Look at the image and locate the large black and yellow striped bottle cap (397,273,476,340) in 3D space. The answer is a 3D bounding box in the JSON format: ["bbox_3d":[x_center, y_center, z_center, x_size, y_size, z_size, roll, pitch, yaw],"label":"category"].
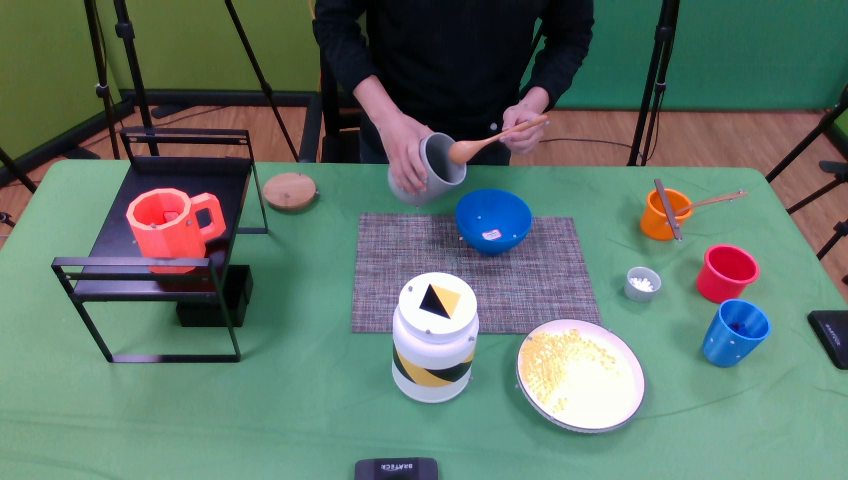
[{"bbox_3d":[0.018,0.094,0.878,0.115,0.019,0.114,3,46,-3],"label":"large black and yellow striped bottle cap"}]

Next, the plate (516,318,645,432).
[{"bbox_3d":[0.253,0.221,0.992,0.209,0.038,0.208,2,46,-2],"label":"plate"}]

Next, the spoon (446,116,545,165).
[{"bbox_3d":[0.121,-0.179,1.059,0.193,0.041,0.022,-20,-3,24],"label":"spoon"}]

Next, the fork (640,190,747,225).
[{"bbox_3d":[0.533,-0.064,1.211,0.207,0.019,0.028,-22,28,39],"label":"fork"}]

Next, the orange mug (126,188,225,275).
[{"bbox_3d":[-0.357,-0.019,0.884,0.126,0.101,0.083,-29,54,-23],"label":"orange mug"}]

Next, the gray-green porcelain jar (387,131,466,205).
[{"bbox_3d":[0.000,-0.130,1.139,0.106,0.126,0.105,19,59,-36],"label":"gray-green porcelain jar"}]

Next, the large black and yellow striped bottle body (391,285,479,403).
[{"bbox_3d":[0.015,0.153,0.938,0.131,0.185,0.130,2,46,-2],"label":"large black and yellow striped bottle body"}]

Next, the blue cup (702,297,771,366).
[{"bbox_3d":[0.519,0.162,1.025,0.093,0.101,0.092,3,45,-3],"label":"blue cup"}]

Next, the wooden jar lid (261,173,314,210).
[{"bbox_3d":[-0.286,-0.101,1.273,0.108,0.021,0.107,3,45,-3],"label":"wooden jar lid"}]

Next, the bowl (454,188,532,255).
[{"bbox_3d":[0.131,-0.025,1.186,0.151,0.077,0.150,2,46,-2],"label":"bowl"}]

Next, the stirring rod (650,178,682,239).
[{"bbox_3d":[0.479,-0.065,1.204,0.014,0.006,0.175,2,46,-3],"label":"stirring rod"}]

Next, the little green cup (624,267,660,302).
[{"bbox_3d":[0.406,0.084,1.135,0.061,0.039,0.061,3,45,-3],"label":"little green cup"}]
